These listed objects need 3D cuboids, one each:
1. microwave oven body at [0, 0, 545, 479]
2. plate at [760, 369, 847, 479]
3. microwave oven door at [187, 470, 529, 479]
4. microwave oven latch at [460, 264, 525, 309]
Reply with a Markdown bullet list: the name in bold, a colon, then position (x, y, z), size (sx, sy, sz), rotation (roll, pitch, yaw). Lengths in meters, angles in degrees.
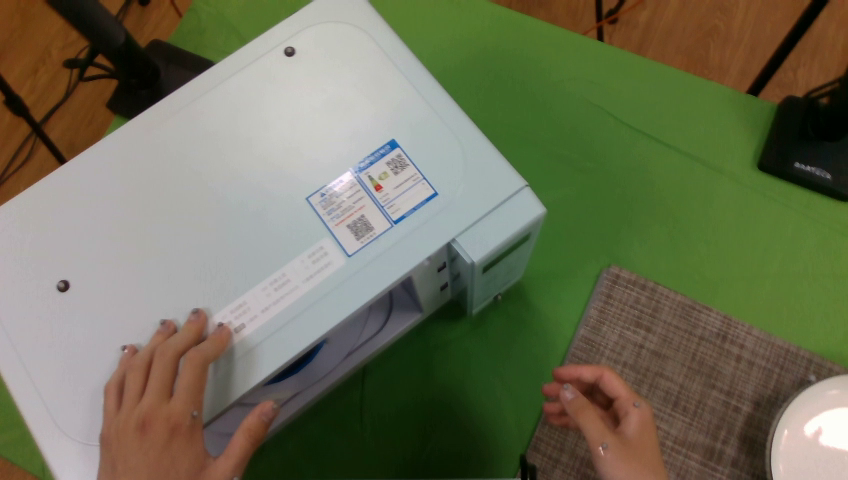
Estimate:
- **microwave oven body**: position (-0.157, 0.012, 0.629), size (0.441, 0.261, 0.324), rotation (-37, 75, -7)
- **plate**: position (0.459, 0.243, 0.640), size (0.207, 0.039, 0.206), rotation (-1, 73, 3)
- **microwave oven door**: position (-0.070, 0.239, 0.550), size (0.356, 0.245, 0.039), rotation (-2, 73, 3)
- **microwave oven latch**: position (0.079, 0.046, 0.706), size (0.079, 0.029, 0.030), rotation (-35, 75, -6)
